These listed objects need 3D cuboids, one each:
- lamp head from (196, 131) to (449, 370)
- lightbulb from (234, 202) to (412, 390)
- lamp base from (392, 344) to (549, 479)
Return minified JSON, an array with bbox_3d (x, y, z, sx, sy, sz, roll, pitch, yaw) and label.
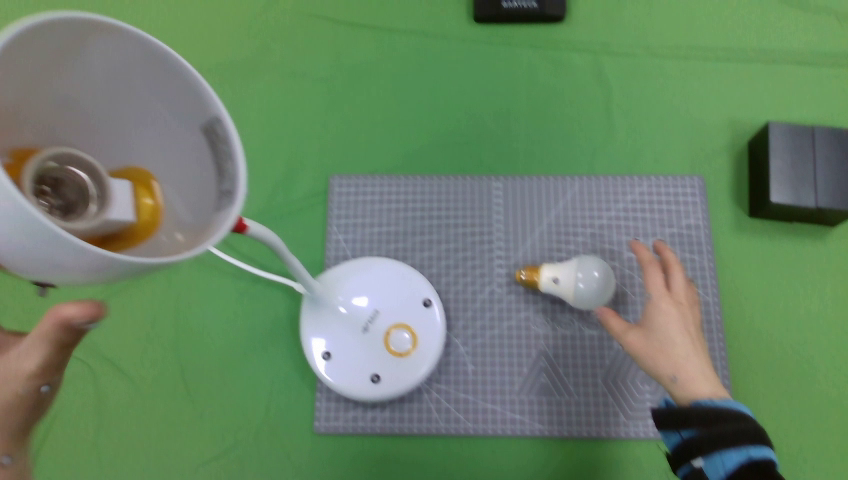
[{"bbox_3d":[-0.062,0.020,0.318,0.113,0.123,0.111,19,56,-32],"label":"lamp head"},{"bbox_3d":[-0.051,0.030,0.276,0.108,0.060,0.059,-47,69,17],"label":"lightbulb"},{"bbox_3d":[0.040,0.161,0.606,0.179,0.182,0.159,9,67,11],"label":"lamp base"}]
